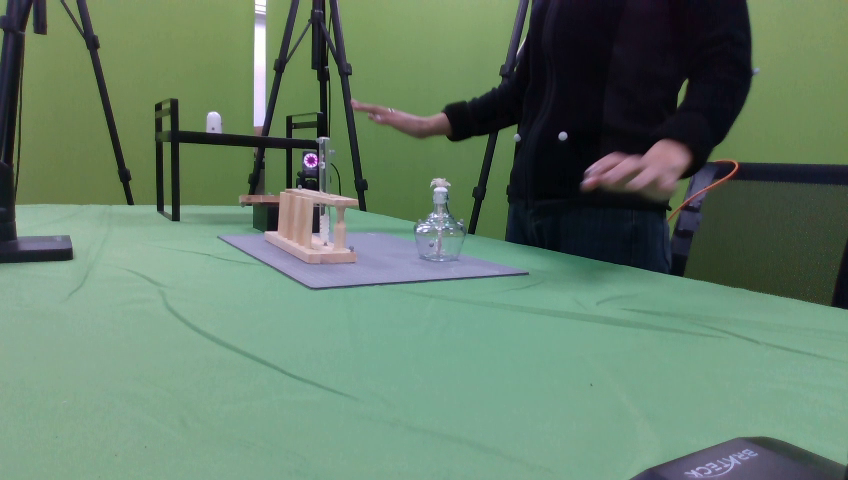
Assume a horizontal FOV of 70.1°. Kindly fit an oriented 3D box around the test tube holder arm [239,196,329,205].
[{"bbox_3d":[-0.263,-0.076,1.155,0.179,0.015,0.013,-1,4,-36],"label":"test tube holder arm"}]

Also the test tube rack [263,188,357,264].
[{"bbox_3d":[-0.175,-0.027,0.890,0.067,0.085,0.241,0,8,-28],"label":"test tube rack"}]

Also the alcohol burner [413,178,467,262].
[{"bbox_3d":[0.022,-0.029,0.864,0.078,0.119,0.078,1,6,0],"label":"alcohol burner"}]

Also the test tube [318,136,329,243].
[{"bbox_3d":[-0.141,-0.070,0.852,0.017,0.150,0.017,1,7,0],"label":"test tube"}]

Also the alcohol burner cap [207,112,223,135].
[{"bbox_3d":[-0.440,-0.245,1.271,0.034,0.048,0.034,1,7,0],"label":"alcohol burner cap"}]

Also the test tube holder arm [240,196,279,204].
[{"bbox_3d":[-0.296,-0.075,1.124,0.088,0.015,0.010,-1,4,-35],"label":"test tube holder arm"}]
